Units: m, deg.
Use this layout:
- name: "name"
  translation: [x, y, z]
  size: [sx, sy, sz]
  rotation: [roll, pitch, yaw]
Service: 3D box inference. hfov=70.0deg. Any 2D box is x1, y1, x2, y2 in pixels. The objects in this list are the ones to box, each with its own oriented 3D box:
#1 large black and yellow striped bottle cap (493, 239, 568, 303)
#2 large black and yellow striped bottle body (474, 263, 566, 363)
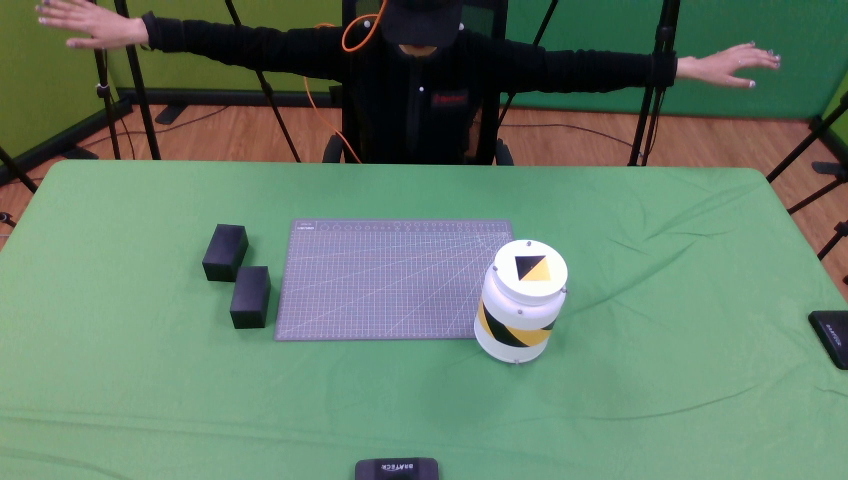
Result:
- name: "large black and yellow striped bottle cap"
  translation: [0.163, 0.045, 0.932]
  size: [0.115, 0.019, 0.114]
  rotation: [3, 49, -3]
- name: "large black and yellow striped bottle body"
  translation: [0.157, 0.103, 0.993]
  size: [0.131, 0.185, 0.130]
  rotation: [3, 48, -3]
